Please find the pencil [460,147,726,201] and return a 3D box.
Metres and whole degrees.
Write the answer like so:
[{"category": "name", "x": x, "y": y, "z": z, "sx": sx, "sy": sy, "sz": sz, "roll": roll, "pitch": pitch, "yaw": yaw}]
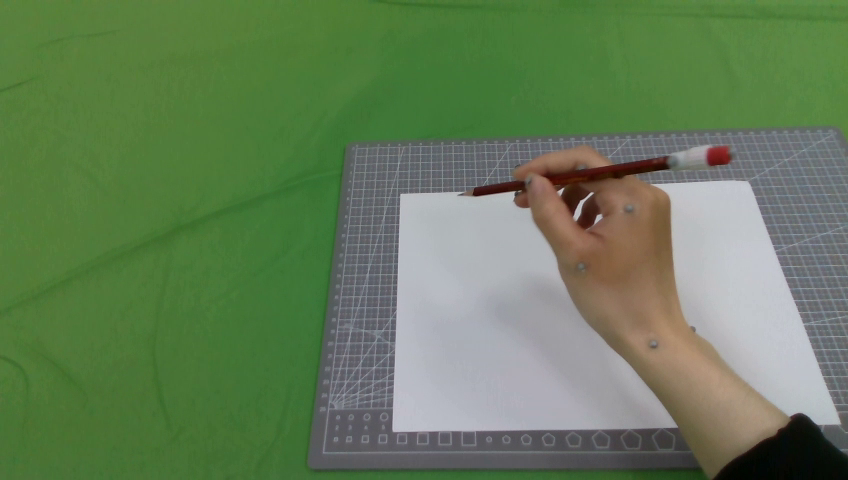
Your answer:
[{"category": "pencil", "x": 0.086, "y": -0.036, "z": 0.369, "sx": 0.193, "sy": 0.012, "sz": 0.012, "roll": -5, "pitch": 42, "yaw": 52}]
